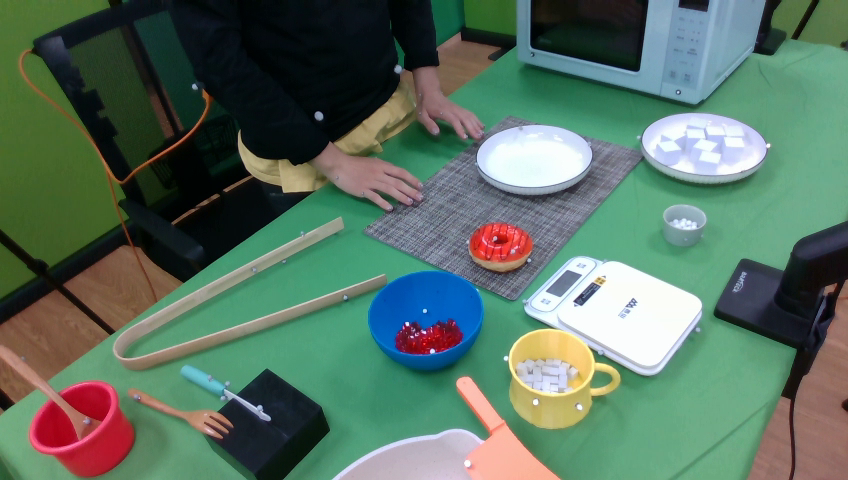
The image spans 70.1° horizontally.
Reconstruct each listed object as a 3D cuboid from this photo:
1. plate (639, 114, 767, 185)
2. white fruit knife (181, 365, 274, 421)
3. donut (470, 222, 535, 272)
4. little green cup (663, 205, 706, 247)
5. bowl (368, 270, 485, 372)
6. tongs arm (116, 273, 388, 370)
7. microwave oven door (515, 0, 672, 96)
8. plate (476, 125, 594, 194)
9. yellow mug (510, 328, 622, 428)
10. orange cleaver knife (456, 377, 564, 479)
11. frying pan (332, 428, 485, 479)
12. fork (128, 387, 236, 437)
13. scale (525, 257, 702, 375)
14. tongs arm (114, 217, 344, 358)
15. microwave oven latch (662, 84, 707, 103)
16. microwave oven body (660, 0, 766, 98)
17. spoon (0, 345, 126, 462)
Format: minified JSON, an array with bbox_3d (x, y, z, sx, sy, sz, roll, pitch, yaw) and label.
[{"bbox_3d":[0.489,-0.157,1.074,0.207,0.039,0.206,-4,40,4],"label":"plate"},{"bbox_3d":[-0.245,0.187,0.747,0.205,0.027,0.016,9,41,40],"label":"white fruit knife"},{"bbox_3d":[0.119,0.009,0.923,0.099,0.048,0.098,-4,38,3],"label":"donut"},{"bbox_3d":[0.396,-0.021,0.926,0.061,0.039,0.061,-4,40,4],"label":"little green cup"},{"bbox_3d":[0.007,0.118,0.791,0.151,0.077,0.150,-4,40,4],"label":"bowl"},{"bbox_3d":[-0.236,0.115,0.870,0.389,0.028,0.028,-18,49,-13],"label":"tongs arm"},{"bbox_3d":[0.343,-0.454,1.259,0.353,0.245,0.039,26,51,33],"label":"microwave oven door"},{"bbox_3d":[0.199,-0.141,1.093,0.209,0.038,0.208,-4,40,4],"label":"plate"},{"bbox_3d":[0.169,0.164,0.722,0.130,0.064,0.099,0,40,8],"label":"yellow mug"},{"bbox_3d":[0.081,0.220,0.611,0.077,0.012,0.209,-26,43,-22],"label":"orange cleaver knife"},{"bbox_3d":[-0.089,0.306,0.564,0.487,0.103,0.306,10,41,7],"label":"frying pan"},{"bbox_3d":[-0.305,0.207,0.744,0.206,0.019,0.028,3,41,36],"label":"fork"},{"bbox_3d":[0.254,0.091,0.821,0.199,0.032,0.149,28,51,35],"label":"scale"},{"bbox_3d":[-0.280,0.067,0.926,0.386,0.026,0.050,-29,49,-23],"label":"tongs arm"},{"bbox_3d":[0.517,-0.296,1.204,0.078,0.029,0.030,27,52,35],"label":"microwave oven latch"},{"bbox_3d":[0.472,-0.513,1.317,0.438,0.261,0.327,26,51,34],"label":"microwave oven body"},{"bbox_3d":[-0.434,0.192,0.720,0.194,0.021,0.042,47,53,-7],"label":"spoon"}]
